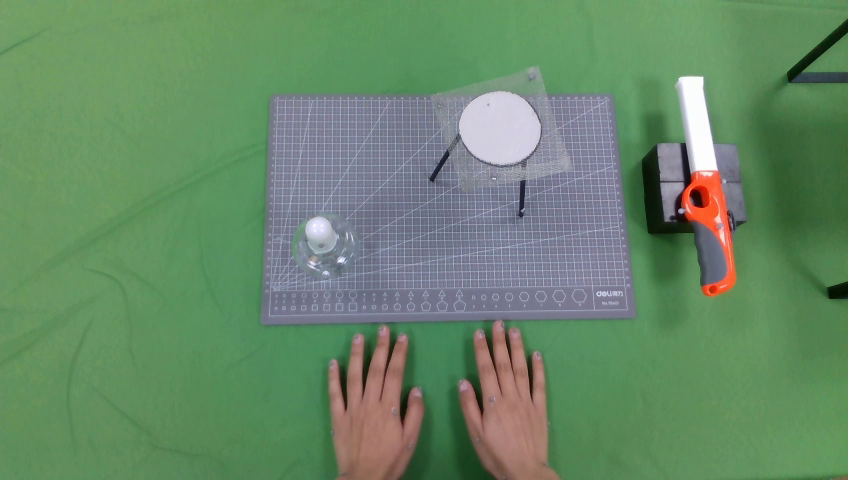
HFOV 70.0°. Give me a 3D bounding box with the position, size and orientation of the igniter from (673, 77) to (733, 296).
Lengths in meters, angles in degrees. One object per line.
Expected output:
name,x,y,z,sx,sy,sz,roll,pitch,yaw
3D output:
igniter,0.330,-0.068,0.720,0.057,0.025,0.275,0,73,0

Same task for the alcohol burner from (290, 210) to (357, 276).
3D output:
alcohol burner,-0.115,0.000,0.682,0.078,0.119,0.077,1,77,-4

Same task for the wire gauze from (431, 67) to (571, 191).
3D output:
wire gauze,0.081,-0.118,0.642,0.125,0.011,0.121,-14,77,-6

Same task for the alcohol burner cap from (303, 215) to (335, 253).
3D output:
alcohol burner cap,-0.114,-0.009,0.647,0.034,0.048,0.033,1,71,-1

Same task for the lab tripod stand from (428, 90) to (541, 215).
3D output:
lab tripod stand,0.079,-0.108,0.708,0.148,0.132,0.147,0,74,-1
